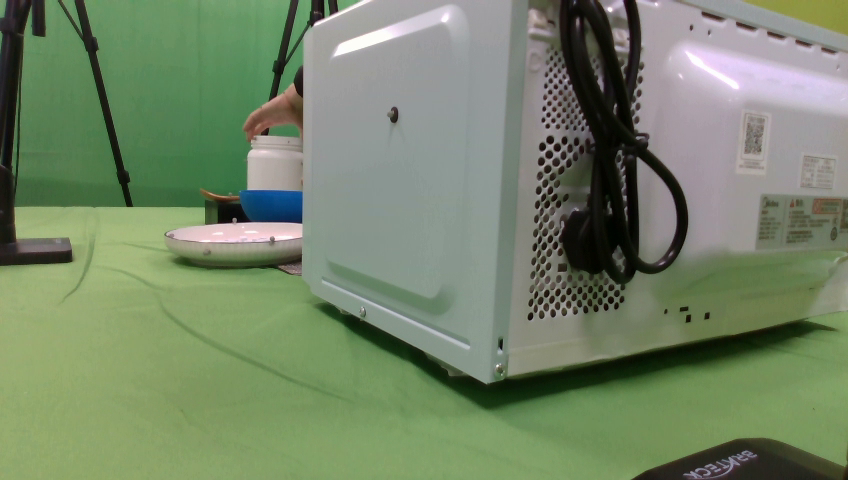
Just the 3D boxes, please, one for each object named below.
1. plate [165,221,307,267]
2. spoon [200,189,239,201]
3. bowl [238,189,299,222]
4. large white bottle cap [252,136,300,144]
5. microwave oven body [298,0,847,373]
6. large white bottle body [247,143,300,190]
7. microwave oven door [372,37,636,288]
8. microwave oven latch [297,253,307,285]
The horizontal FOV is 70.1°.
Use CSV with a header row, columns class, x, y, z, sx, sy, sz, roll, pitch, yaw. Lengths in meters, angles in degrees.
class,x,y,z,sx,sy,sz,roll,pitch,yaw
plate,-0.241,0.004,0.829,0.209,0.038,0.209,0,9,0
spoon,-0.339,-0.080,1.189,0.194,0.021,0.041,5,0,-19
bowl,-0.245,-0.046,1.053,0.151,0.077,0.151,3,8,0
large white bottle cap,-0.337,-0.229,1.390,0.115,0.018,0.115,2,8,0
microwave oven body,0.151,-0.055,0.542,0.444,0.260,0.324,-2,7,-33
large white bottle body,-0.341,-0.144,1.401,0.131,0.184,0.130,3,7,0
microwave oven door,0.109,-0.080,0.686,0.358,0.243,0.039,-2,9,-33
microwave oven latch,-0.082,0.027,0.582,0.079,0.029,0.030,-1,7,-32
